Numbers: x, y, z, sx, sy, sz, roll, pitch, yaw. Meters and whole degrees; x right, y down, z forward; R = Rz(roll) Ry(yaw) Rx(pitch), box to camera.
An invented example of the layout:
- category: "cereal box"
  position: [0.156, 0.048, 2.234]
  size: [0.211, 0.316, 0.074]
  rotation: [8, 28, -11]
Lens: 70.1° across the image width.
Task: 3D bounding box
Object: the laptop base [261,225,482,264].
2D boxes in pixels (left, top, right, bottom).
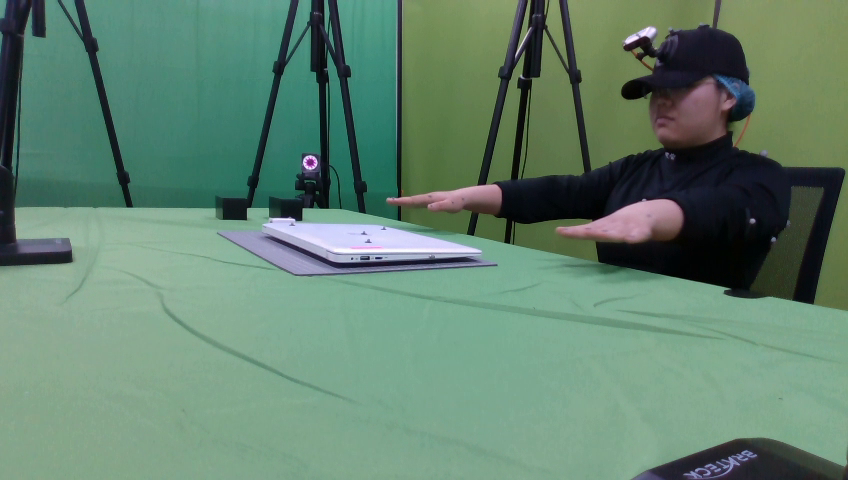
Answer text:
- category: "laptop base"
  position: [-0.100, 0.006, 0.965]
  size: [0.237, 0.023, 0.352]
  rotation: [2, 6, -31]

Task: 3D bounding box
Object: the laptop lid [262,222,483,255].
- category: "laptop lid"
  position: [-0.098, -0.005, 0.964]
  size: [0.243, 0.013, 0.355]
  rotation: [1, 7, -29]

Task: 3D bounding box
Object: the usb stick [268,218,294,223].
- category: "usb stick"
  position: [-0.272, -0.027, 1.119]
  size: [0.059, 0.027, 0.021]
  rotation: [-6, 11, -35]
